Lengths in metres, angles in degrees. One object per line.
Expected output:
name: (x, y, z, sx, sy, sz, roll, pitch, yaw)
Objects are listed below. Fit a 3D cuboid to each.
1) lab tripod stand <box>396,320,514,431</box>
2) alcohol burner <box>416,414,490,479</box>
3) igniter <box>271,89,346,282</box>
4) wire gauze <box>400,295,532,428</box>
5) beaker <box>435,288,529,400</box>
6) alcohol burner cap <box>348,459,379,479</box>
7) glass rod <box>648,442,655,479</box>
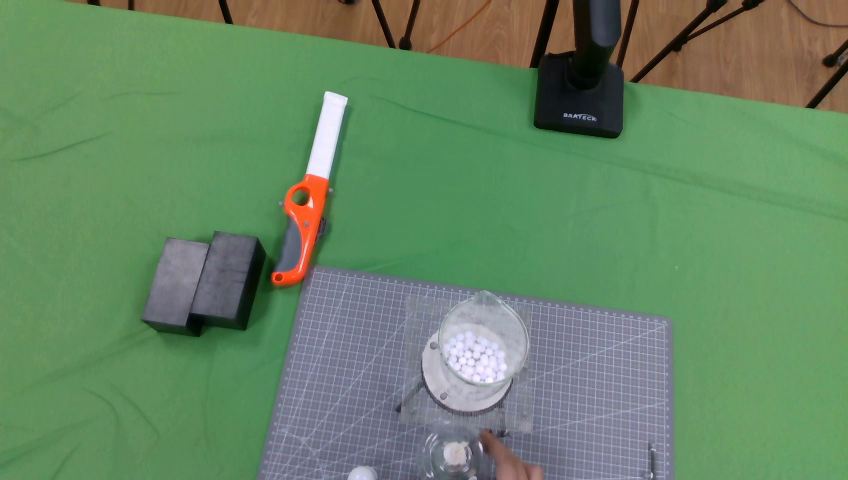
lab tripod stand: (0.038, 0.140, 0.636, 0.148, 0.132, 0.147, 1, 66, -1)
alcohol burner: (0.030, 0.214, 0.616, 0.078, 0.120, 0.077, 0, 65, 1)
igniter: (-0.143, -0.074, 0.773, 0.057, 0.025, 0.274, 15, 67, -13)
wire gauze: (0.040, 0.112, 0.576, 0.125, 0.011, 0.120, 4, 66, 1)
beaker: (0.046, 0.096, 0.531, 0.074, 0.101, 0.083, 5, 66, 0)
alcohol burner cap: (-0.064, 0.247, 0.638, 0.034, 0.048, 0.033, 1, 68, -2)
glass rod: (0.242, 0.317, 0.643, 0.008, 0.008, 0.198, 8, 68, 0)
